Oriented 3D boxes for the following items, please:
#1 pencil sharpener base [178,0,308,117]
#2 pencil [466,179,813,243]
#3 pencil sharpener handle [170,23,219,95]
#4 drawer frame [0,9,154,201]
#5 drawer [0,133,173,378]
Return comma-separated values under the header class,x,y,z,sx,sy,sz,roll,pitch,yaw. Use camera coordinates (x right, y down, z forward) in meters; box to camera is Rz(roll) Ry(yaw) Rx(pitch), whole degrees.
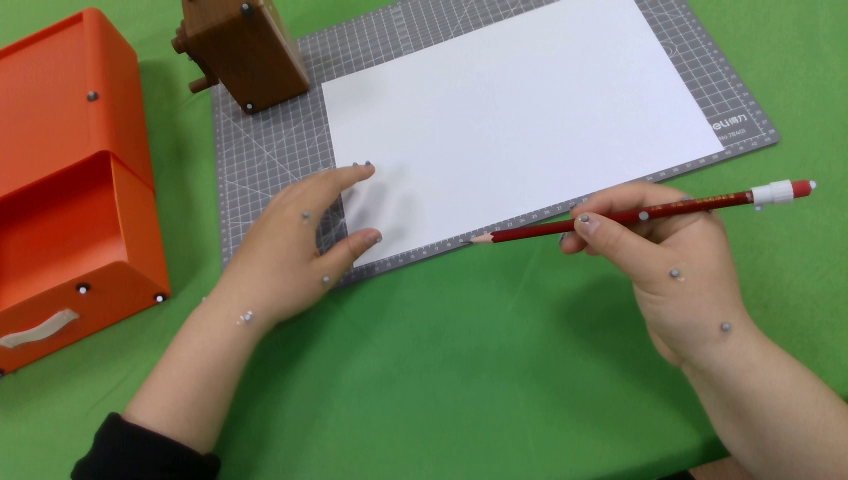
class,x,y,z,sx,sy,sz,roll,pitch,yaw
pencil sharpener base,-0.166,-0.176,0.560,0.076,0.108,0.060,-23,58,3
pencil,0.117,-0.014,0.355,0.193,0.012,0.012,-9,60,18
pencil sharpener handle,-0.215,-0.161,0.551,0.030,0.068,0.035,-23,55,3
drawer frame,-0.381,-0.096,0.592,0.201,0.083,0.211,-25,58,1
drawer,-0.339,-0.005,0.533,0.194,0.074,0.209,-25,58,1
